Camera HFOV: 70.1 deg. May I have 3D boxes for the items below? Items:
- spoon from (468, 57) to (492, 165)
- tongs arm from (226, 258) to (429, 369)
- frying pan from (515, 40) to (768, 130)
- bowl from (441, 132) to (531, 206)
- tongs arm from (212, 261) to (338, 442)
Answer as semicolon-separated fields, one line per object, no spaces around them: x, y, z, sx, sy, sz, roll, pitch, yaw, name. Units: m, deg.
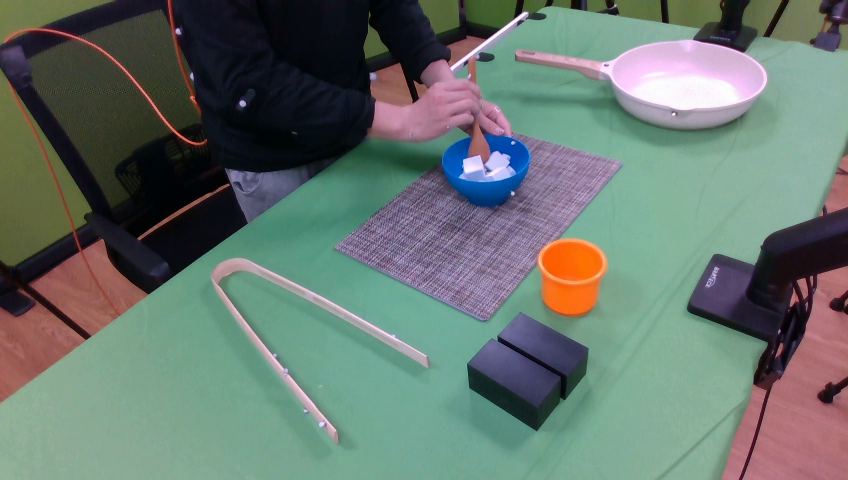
0.084;-0.206;0.988;0.042;0.194;0.021;-14;34;-5;spoon
-0.150;0.098;0.873;0.384;0.028;0.028;22;50;30;tongs arm
0.423;-0.338;1.236;0.486;0.103;0.307;16;44;13;frying pan
0.107;-0.112;1.033;0.151;0.077;0.150;-4;41;4;bowl
-0.208;0.136;0.830;0.051;0.026;0.381;-31;45;-28;tongs arm
